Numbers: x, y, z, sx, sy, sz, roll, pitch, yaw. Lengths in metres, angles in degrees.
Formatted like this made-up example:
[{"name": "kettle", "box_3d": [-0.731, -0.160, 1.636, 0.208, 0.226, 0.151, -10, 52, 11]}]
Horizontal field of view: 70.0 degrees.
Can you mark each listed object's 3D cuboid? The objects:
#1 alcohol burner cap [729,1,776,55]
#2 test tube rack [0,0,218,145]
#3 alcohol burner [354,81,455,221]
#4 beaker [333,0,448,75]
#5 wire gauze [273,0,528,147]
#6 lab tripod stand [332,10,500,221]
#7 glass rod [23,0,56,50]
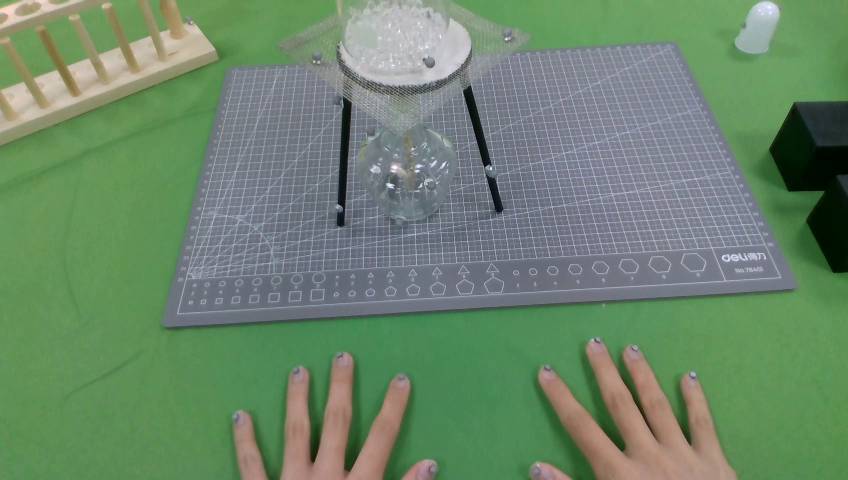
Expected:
[{"name": "alcohol burner cap", "box_3d": [0.324, -0.210, 0.593, 0.034, 0.048, 0.033, -1, 51, 1]}, {"name": "test tube rack", "box_3d": [-0.330, -0.174, 0.564, 0.242, 0.086, 0.066, -29, 56, -19]}, {"name": "alcohol burner", "box_3d": [-0.015, -0.069, 0.448, 0.078, 0.120, 0.077, 0, 53, 1]}, {"name": "beaker", "box_3d": [-0.023, -0.158, 0.359, 0.084, 0.101, 0.073, 12, 53, 11]}, {"name": "wire gauze", "box_3d": [-0.015, -0.125, 0.396, 0.121, 0.011, 0.124, -39, 63, -24]}, {"name": "lab tripod stand", "box_3d": [-0.009, -0.087, 0.449, 0.148, 0.132, 0.147, 0, 51, 0]}, {"name": "glass rod", "box_3d": [-0.343, -0.215, 0.512, 0.008, 0.201, 0.008, 2, 52, -2]}]
